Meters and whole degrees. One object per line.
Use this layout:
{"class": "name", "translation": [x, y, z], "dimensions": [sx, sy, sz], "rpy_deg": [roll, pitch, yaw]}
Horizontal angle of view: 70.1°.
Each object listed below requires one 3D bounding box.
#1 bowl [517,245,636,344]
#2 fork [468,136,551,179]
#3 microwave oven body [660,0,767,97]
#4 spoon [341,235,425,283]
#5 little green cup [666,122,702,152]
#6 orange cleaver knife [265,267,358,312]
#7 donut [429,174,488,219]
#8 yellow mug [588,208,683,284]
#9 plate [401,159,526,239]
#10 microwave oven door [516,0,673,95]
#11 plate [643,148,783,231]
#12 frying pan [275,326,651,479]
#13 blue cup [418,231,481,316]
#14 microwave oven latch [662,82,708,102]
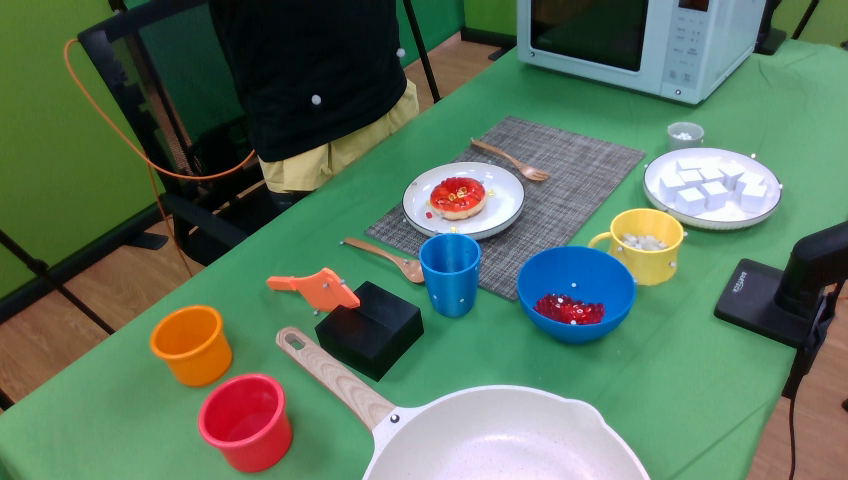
{"class": "bowl", "translation": [0.200, 0.084, 0.803], "dimensions": [0.151, 0.077, 0.150], "rpy_deg": [-4, 40, 4]}
{"class": "fork", "translation": [0.154, -0.156, 1.126], "dimensions": [0.028, 0.019, 0.205], "rpy_deg": [-39, 51, -18]}
{"class": "microwave oven body", "translation": [0.473, -0.516, 1.314], "dimensions": [0.438, 0.261, 0.327], "rpy_deg": [26, 51, 34]}
{"class": "spoon", "translation": [-0.061, 0.023, 0.953], "dimensions": [0.192, 0.022, 0.041], "rpy_deg": [24, 70, 30]}
{"class": "little green cup", "translation": [0.472, -0.183, 1.102], "dimensions": [0.061, 0.039, 0.061], "rpy_deg": [-5, 41, 5]}
{"class": "orange cleaver knife", "translation": [-0.164, 0.073, 0.864], "dimensions": [0.210, 0.077, 0.012], "rpy_deg": [-6, 31, 50]}
{"class": "donut", "translation": [0.058, -0.075, 1.015], "dimensions": [0.099, 0.048, 0.098], "rpy_deg": [-6, 38, 5]}
{"class": "yellow mug", "translation": [0.305, 0.009, 0.884], "dimensions": [0.131, 0.064, 0.099], "rpy_deg": [-4, 40, 5]}
{"class": "plate", "translation": [0.067, -0.065, 1.019], "dimensions": [0.209, 0.038, 0.208], "rpy_deg": [-4, 40, 4]}
{"class": "microwave oven door", "translation": [0.344, -0.458, 1.257], "dimensions": [0.353, 0.245, 0.039], "rpy_deg": [26, 51, 33]}
{"class": "plate", "translation": [0.464, -0.080, 0.986], "dimensions": [0.207, 0.039, 0.206], "rpy_deg": [-4, 41, 4]}
{"class": "frying pan", "translation": [0.003, 0.229, 0.641], "dimensions": [0.484, 0.103, 0.308], "rpy_deg": [34, 54, 28]}
{"class": "blue cup", "translation": [0.040, 0.053, 0.843], "dimensions": [0.092, 0.100, 0.092], "rpy_deg": [-4, 43, 4]}
{"class": "microwave oven latch", "translation": [0.518, -0.298, 1.203], "dimensions": [0.078, 0.029, 0.030], "rpy_deg": [28, 53, 35]}
